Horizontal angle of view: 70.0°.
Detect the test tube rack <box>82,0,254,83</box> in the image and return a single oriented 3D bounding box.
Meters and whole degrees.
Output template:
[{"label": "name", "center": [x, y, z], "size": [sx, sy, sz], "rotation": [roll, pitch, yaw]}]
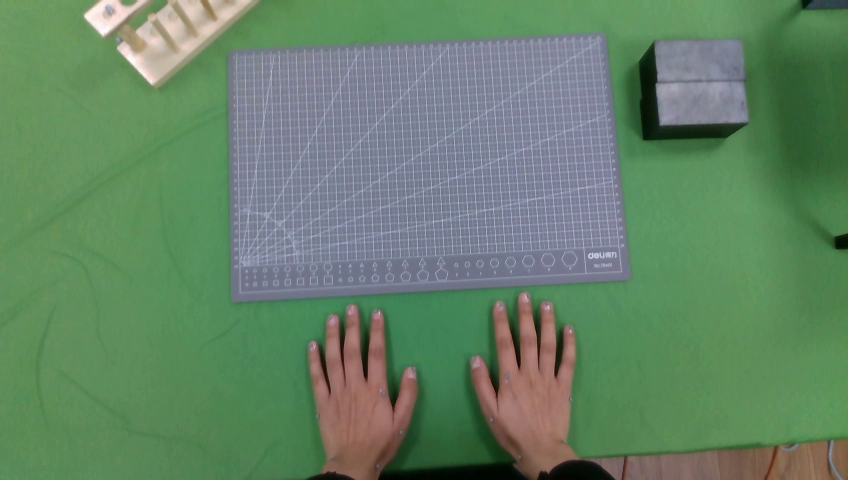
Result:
[{"label": "test tube rack", "center": [-0.249, -0.296, 0.684], "size": [0.242, 0.085, 0.066], "rotation": [-44, 84, -6]}]
